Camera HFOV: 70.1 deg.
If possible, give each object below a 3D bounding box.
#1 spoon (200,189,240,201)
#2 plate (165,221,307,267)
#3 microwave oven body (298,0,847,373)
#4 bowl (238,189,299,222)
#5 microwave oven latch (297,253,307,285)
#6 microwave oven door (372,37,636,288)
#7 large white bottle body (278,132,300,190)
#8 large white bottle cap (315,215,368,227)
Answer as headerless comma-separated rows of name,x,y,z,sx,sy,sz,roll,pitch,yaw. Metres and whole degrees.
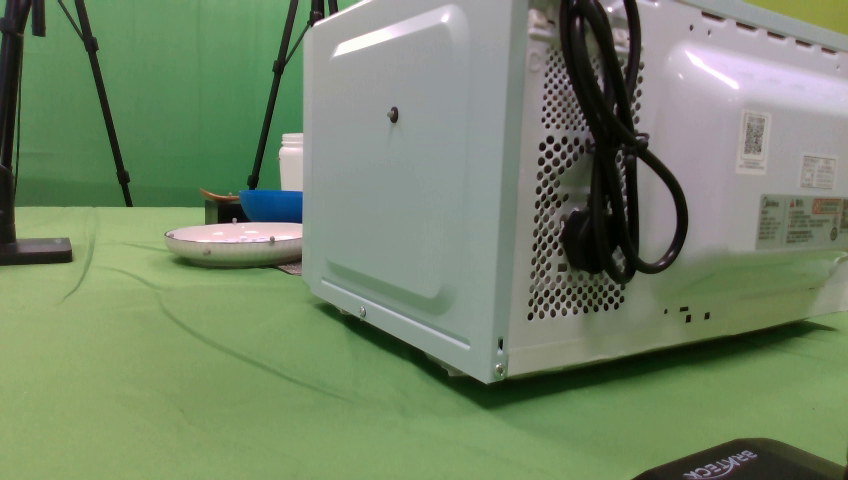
spoon,-0.339,-0.080,1.190,0.194,0.021,0.041,5,1,-19
plate,-0.241,0.004,0.829,0.209,0.038,0.209,0,9,0
microwave oven body,0.151,-0.055,0.542,0.444,0.260,0.324,-2,7,-33
bowl,-0.245,-0.046,1.052,0.151,0.077,0.151,3,8,0
microwave oven latch,-0.082,0.027,0.582,0.079,0.029,0.030,-1,7,-32
microwave oven door,0.109,-0.080,0.686,0.358,0.243,0.039,-2,9,-33
large white bottle body,-0.269,-0.158,1.408,0.131,0.184,0.130,-1,13,1
large white bottle cap,-0.177,-0.041,1.308,0.115,0.018,0.115,2,7,0
